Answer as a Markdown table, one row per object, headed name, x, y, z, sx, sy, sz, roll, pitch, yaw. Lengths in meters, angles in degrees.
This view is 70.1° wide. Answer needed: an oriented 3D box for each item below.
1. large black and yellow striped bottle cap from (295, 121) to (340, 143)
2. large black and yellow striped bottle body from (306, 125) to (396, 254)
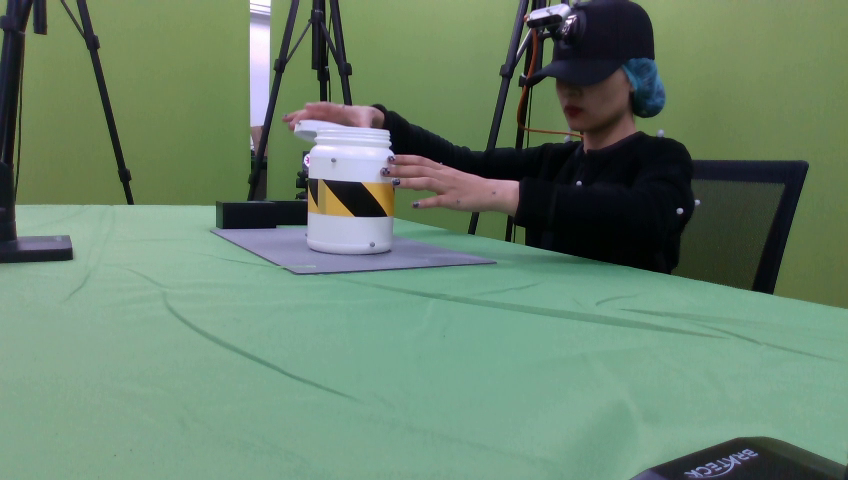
| name | x | y | z | sx | sy | sz | roll | pitch | yaw |
| --- | --- | --- | --- | --- | --- | --- | --- | --- | --- |
| large black and yellow striped bottle cap | -0.159 | -0.177 | 1.017 | 0.115 | 0.019 | 0.115 | 7 | -2 | 1 |
| large black and yellow striped bottle body | -0.110 | -0.077 | 0.913 | 0.131 | 0.184 | 0.130 | 3 | 7 | 0 |
